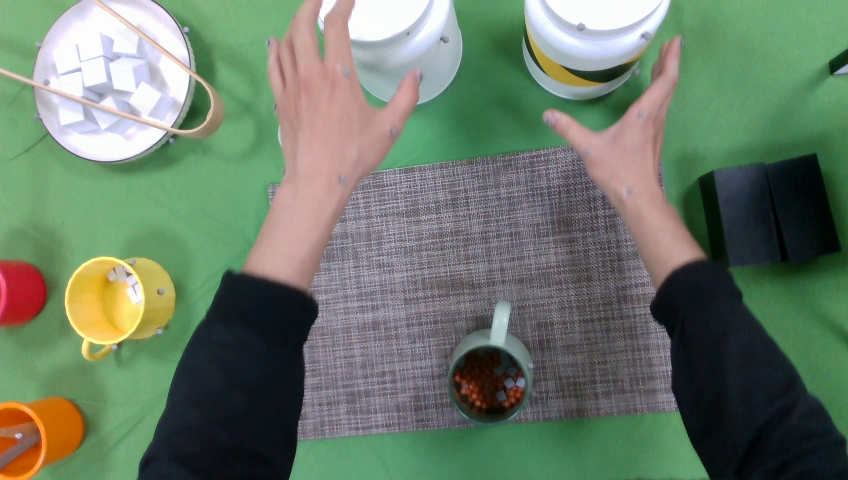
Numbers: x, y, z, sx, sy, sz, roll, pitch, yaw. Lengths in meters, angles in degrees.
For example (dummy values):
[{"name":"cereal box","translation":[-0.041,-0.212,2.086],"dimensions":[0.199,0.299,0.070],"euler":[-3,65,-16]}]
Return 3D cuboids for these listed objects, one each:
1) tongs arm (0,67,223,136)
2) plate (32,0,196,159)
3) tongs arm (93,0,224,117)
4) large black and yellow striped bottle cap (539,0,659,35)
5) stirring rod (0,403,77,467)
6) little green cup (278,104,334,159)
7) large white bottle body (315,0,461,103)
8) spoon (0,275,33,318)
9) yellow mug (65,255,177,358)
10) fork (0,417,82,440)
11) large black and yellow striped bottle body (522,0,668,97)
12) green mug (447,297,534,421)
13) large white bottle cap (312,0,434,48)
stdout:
[{"name":"tongs arm","translation":[-0.416,-0.190,0.712],"dimensions":[0.384,0.026,0.050],"euler":[22,88,9]},{"name":"plate","translation":[-0.371,-0.199,0.738],"dimensions":[0.207,0.039,0.207],"euler":[0,89,8]},{"name":"tongs arm","translation":[-0.377,-0.265,0.711],"dimensions":[0.386,0.028,0.028],"euler":[36,87,9]},{"name":"large black and yellow striped bottle cap","translation":[0.150,-0.233,0.512],"dimensions":[0.115,0.019,0.115],"euler":[0,88,6]},{"name":"stirring rod","translation":[-0.481,0.249,0.689],"dimensions":[0.014,0.006,0.176],"euler":[44,52,6]},{"name":"little green cup","translation":[-0.134,-0.123,0.704],"dimensions":[0.061,0.039,0.061],"euler":[0,89,7]},{"name":"large white bottle body","translation":[-0.034,-0.227,0.620],"dimensions":[0.130,0.185,0.130],"euler":[0,88,8]},{"name":"spoon","translation":[-0.519,0.020,0.697],"dimensions":[0.041,0.021,0.196],"euler":[-11,132,6]},{"name":"yellow mug","translation":[-0.362,0.081,0.715],"dimensions":[0.100,0.064,0.131],"euler":[26,93,7]},{"name":"fork","translation":[-0.506,0.215,0.687],"dimensions":[0.209,0.018,0.028],"euler":[12,86,-35]},{"name":"large black and yellow striped bottle body","translation":[0.163,-0.227,0.595],"dimensions":[0.130,0.184,0.130],"euler":[0,88,8]},{"name":"green mug","translation":[0.072,0.122,0.633],"dimensions":[0.092,0.105,0.125],"euler":[10,89,9]},{"name":"large white bottle cap","translation":[-0.046,-0.230,0.536],"dimensions":[0.114,0.018,0.114],"euler":[0,89,8]}]
